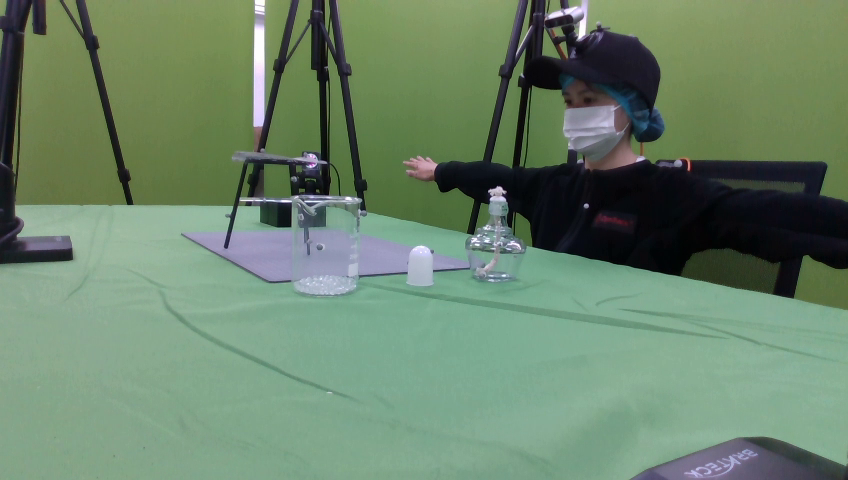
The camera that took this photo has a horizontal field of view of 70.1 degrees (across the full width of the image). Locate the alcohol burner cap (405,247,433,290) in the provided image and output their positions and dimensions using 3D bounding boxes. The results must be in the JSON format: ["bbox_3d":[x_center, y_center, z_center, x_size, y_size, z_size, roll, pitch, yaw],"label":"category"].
[{"bbox_3d":[-0.005,0.031,0.698,0.034,0.048,0.034,3,8,0],"label":"alcohol burner cap"}]

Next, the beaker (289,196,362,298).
[{"bbox_3d":[-0.104,0.006,0.627,0.074,0.100,0.084,4,8,11],"label":"beaker"}]

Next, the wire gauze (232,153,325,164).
[{"bbox_3d":[-0.215,-0.118,0.881,0.125,0.011,0.121,0,7,-19],"label":"wire gauze"}]

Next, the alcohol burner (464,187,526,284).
[{"bbox_3d":[0.089,-0.007,0.747,0.078,0.119,0.078,4,9,0],"label":"alcohol burner"}]

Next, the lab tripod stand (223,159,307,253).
[{"bbox_3d":[-0.220,-0.053,0.896,0.148,0.131,0.148,1,6,0],"label":"lab tripod stand"}]

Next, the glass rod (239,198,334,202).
[{"bbox_3d":[-0.277,-0.081,1.232,0.201,0.008,0.008,-1,8,-30],"label":"glass rod"}]
